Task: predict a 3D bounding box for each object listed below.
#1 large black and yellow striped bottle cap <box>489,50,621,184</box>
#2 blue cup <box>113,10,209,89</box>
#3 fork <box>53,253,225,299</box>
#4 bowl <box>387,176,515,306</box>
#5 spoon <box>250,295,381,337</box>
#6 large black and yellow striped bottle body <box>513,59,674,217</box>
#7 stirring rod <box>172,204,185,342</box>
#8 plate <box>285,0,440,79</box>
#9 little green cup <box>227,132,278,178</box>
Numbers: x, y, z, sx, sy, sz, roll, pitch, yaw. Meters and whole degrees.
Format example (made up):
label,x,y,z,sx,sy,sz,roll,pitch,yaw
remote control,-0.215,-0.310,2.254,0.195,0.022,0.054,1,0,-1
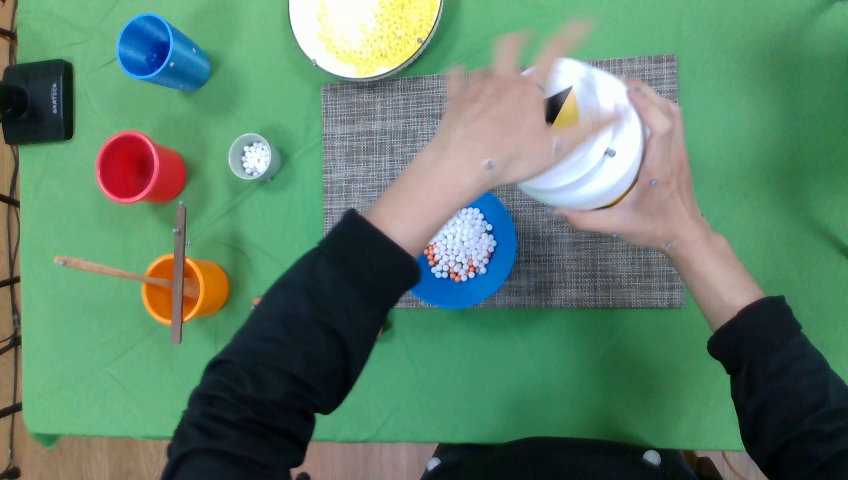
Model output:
label,x,y,z,sx,sy,sz,roll,pitch,yaw
large black and yellow striped bottle cap,0.110,-0.106,0.523,0.114,0.019,0.115,-3,85,33
blue cup,-0.344,-0.246,0.812,0.092,0.100,0.092,0,89,14
fork,-0.363,0.046,0.785,0.209,0.018,0.028,17,95,-31
bowl,0.037,0.003,0.732,0.151,0.077,0.151,0,89,12
spoon,-0.146,0.093,0.802,0.193,0.021,0.042,9,104,12
large black and yellow striped bottle body,0.158,-0.097,0.592,0.130,0.185,0.130,-4,82,34
stirring rod,-0.313,0.042,0.772,0.014,0.006,0.176,1,89,11
plate,-0.078,-0.310,0.789,0.208,0.038,0.209,0,89,12
little green cup,-0.228,-0.112,0.816,0.061,0.039,0.061,0,89,13
